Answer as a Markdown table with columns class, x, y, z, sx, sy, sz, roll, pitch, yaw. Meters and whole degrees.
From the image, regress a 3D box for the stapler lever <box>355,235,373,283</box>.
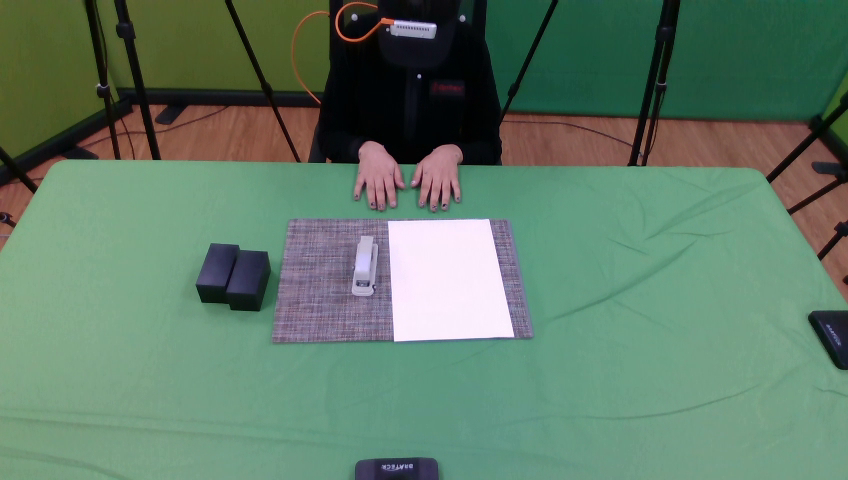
| class | x | y | z | sx | sy | sz | roll | pitch | yaw |
| --- | --- | --- | --- | --- | --- | --- | --- | --- | --- |
| stapler lever | -0.110 | 0.029 | 1.122 | 0.027 | 0.040 | 0.117 | 5 | 46 | -4 |

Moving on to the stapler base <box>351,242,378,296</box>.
| class | x | y | z | sx | sy | sz | roll | pitch | yaw |
| --- | --- | --- | --- | --- | --- | --- | --- | --- | --- |
| stapler base | -0.112 | 0.047 | 1.139 | 0.041 | 0.024 | 0.130 | 5 | 45 | -4 |
